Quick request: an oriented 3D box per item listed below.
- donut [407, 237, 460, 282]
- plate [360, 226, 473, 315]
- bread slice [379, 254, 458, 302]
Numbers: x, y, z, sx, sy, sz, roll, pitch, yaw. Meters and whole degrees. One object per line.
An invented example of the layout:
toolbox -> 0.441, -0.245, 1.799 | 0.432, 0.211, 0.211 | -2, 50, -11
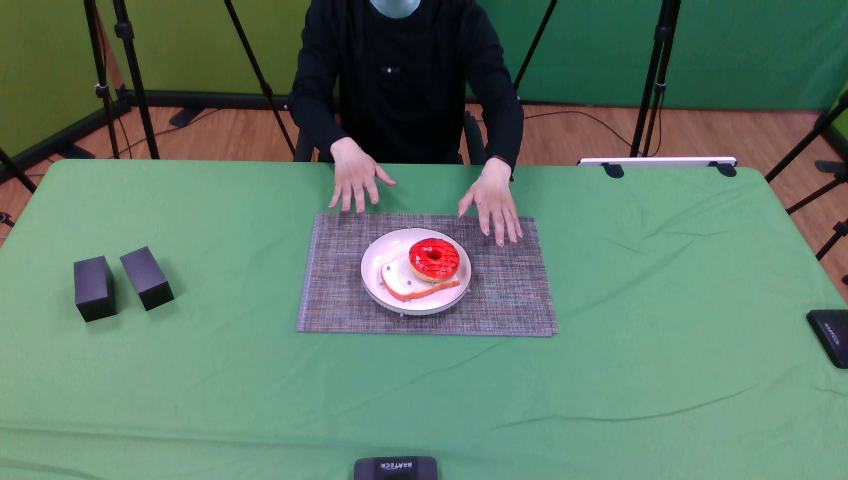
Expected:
donut -> 0.017, 0.037, 1.109 | 0.099, 0.048, 0.098 | 5, 44, -4
plate -> -0.013, 0.059, 1.124 | 0.208, 0.039, 0.206 | 2, 46, -2
bread slice -> -0.014, 0.064, 1.123 | 0.132, 0.019, 0.104 | -17, 50, -22
